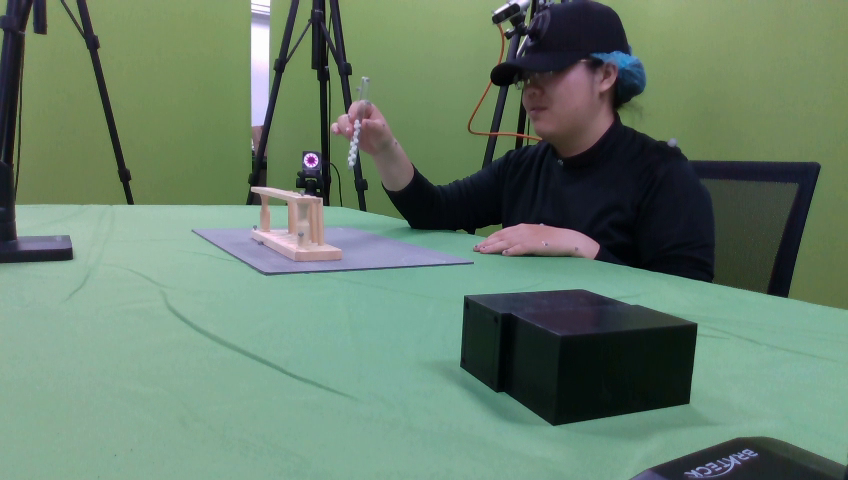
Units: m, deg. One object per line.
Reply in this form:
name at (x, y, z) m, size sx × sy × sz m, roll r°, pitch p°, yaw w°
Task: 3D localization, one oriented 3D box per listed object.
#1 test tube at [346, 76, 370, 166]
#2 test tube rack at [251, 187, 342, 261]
test tube at (-0.111, -0.198, 1.015) m, size 0.017 × 0.150 × 0.017 m, roll 10°, pitch 6°, yaw -1°
test tube rack at (-0.196, -0.030, 0.902) m, size 0.067 × 0.085 × 0.241 m, roll -1°, pitch 8°, yaw -29°
